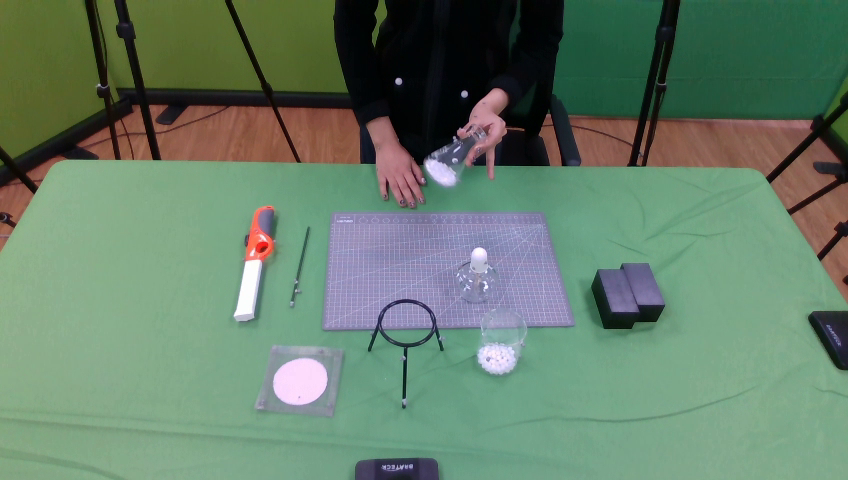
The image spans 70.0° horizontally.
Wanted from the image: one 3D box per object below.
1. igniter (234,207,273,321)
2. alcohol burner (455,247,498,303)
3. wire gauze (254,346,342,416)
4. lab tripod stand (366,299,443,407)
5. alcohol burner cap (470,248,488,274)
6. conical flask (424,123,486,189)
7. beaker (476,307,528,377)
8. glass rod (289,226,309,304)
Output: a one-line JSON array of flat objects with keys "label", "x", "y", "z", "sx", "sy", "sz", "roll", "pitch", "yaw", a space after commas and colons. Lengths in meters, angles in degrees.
[{"label": "igniter", "x": -0.319, "y": 0.035, "z": 1.137, "sx": 0.057, "sy": 0.025, "sz": 0.274, "roll": -7, "pitch": 46, "yaw": 3}, {"label": "alcohol burner", "x": 0.095, "y": 0.057, "z": 1.085, "sx": 0.078, "sy": 0.120, "sz": 0.077, "roll": 1, "pitch": 47, "yaw": -1}, {"label": "wire gauze", "x": -0.201, "y": 0.223, "z": 0.978, "sx": 0.125, "sy": 0.011, "sz": 0.121, "roll": 4, "pitch": 45, "yaw": 1}, {"label": "lab tripod stand", "x": -0.028, "y": 0.165, "z": 0.961, "sx": 0.148, "sy": 0.132, "sz": 0.147, "roll": 3, "pitch": 44, "yaw": -2}, {"label": "alcohol burner cap", "x": 0.095, "y": 0.034, "z": 1.057, "sx": 0.034, "sy": 0.048, "sz": 0.033, "roll": -3, "pitch": 53, "yaw": 4}, {"label": "conical flask", "x": 0.062, "y": -0.159, "z": 1.116, "sx": 0.075, "sy": 0.122, "sz": 0.075, "roll": 32, "pitch": 31, "yaw": -21}, {"label": "beaker", "x": 0.122, "y": 0.171, "z": 0.991, "sx": 0.084, "sy": 0.101, "sz": 0.073, "roll": -34, "pitch": 56, "yaw": -31}, {"label": "glass rod", "x": -0.235, "y": 0.043, "z": 1.150, "sx": 0.008, "sy": 0.008, "sz": 0.198, "roll": 3, "pitch": 46, "yaw": -1}]
